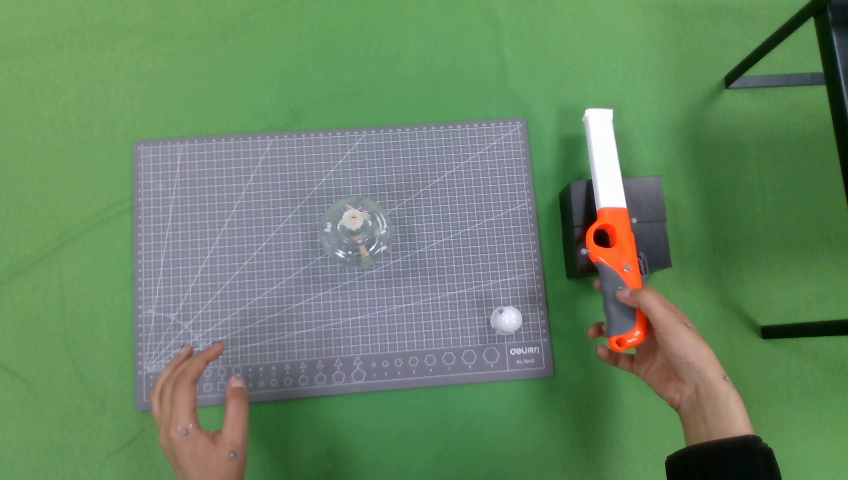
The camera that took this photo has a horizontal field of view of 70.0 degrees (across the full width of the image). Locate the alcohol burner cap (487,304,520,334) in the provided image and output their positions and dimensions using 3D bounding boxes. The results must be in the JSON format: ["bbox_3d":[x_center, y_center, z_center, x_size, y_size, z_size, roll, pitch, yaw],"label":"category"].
[{"bbox_3d":[0.087,0.085,0.653,0.034,0.048,0.033,0,80,-2],"label":"alcohol burner cap"}]

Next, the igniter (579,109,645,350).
[{"bbox_3d":[0.190,-0.021,0.623,0.057,0.025,0.274,1,64,-2],"label":"igniter"}]

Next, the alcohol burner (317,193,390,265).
[{"bbox_3d":[-0.073,-0.014,0.625,0.078,0.119,0.077,1,81,-4],"label":"alcohol burner"}]
